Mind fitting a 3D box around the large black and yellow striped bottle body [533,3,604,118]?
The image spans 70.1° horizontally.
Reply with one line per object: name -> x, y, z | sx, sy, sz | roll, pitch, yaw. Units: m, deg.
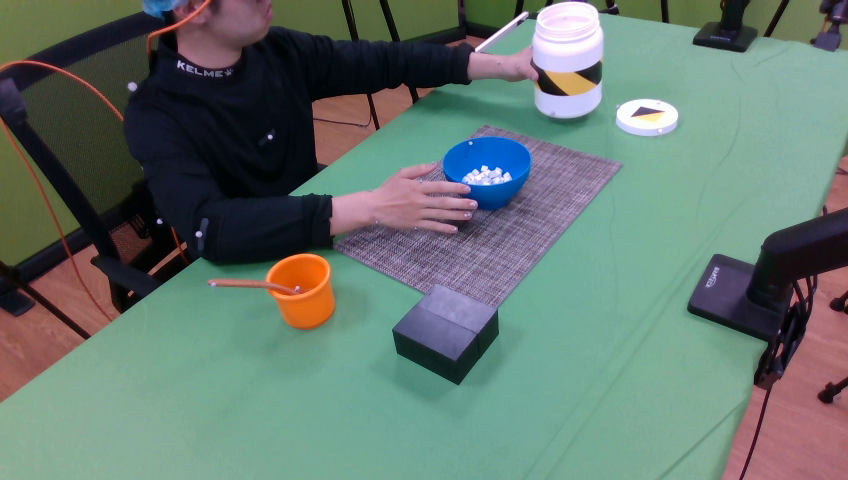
large black and yellow striped bottle body -> 0.276, -0.343, 1.161 | 0.130, 0.185, 0.130 | -7, 45, 7

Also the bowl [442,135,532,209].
bowl -> 0.108, -0.106, 1.026 | 0.151, 0.077, 0.150 | -4, 41, 4

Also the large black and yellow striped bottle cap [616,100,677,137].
large black and yellow striped bottle cap -> 0.438, -0.241, 1.190 | 0.115, 0.019, 0.114 | -4, 42, 4

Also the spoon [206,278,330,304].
spoon -> -0.207, 0.066, 0.824 | 0.041, 0.195, 0.021 | 34, 100, 40
